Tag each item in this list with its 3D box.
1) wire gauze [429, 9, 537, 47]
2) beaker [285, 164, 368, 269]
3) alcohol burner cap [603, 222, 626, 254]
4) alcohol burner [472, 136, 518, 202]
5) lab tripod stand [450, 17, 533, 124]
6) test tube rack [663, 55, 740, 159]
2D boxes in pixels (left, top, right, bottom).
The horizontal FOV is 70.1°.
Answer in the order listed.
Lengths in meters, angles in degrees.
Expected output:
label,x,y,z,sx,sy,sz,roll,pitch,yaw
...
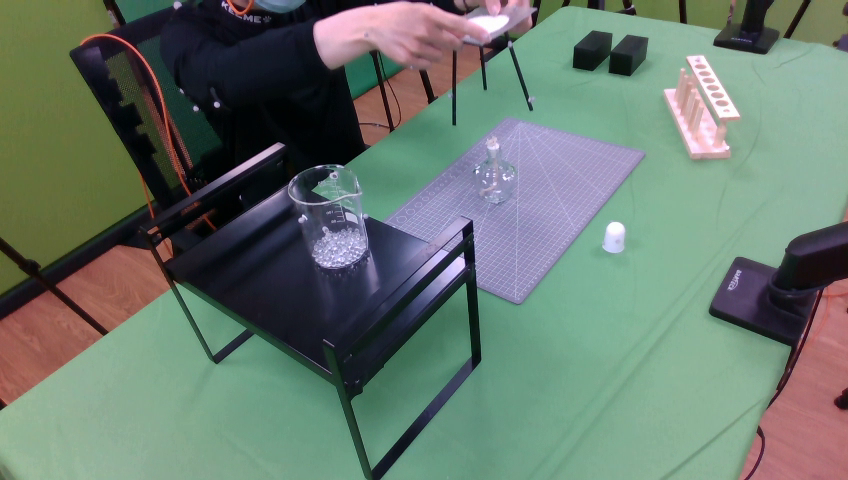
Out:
label,x,y,z,sx,sy,sz,roll,pitch,yaw
wire gauze,0.085,-0.316,0.891,0.122,0.011,0.124,-34,37,-26
beaker,-0.101,-0.024,0.676,0.083,0.101,0.074,8,43,17
alcohol burner cap,0.291,-0.006,0.921,0.034,0.048,0.033,-4,40,4
alcohol burner,0.121,-0.124,1.023,0.078,0.119,0.077,-3,42,3
lab tripod stand,0.093,-0.265,0.934,0.148,0.132,0.147,-10,35,8
test tube rack,0.518,-0.256,1.144,0.066,0.085,0.241,-1,41,8
